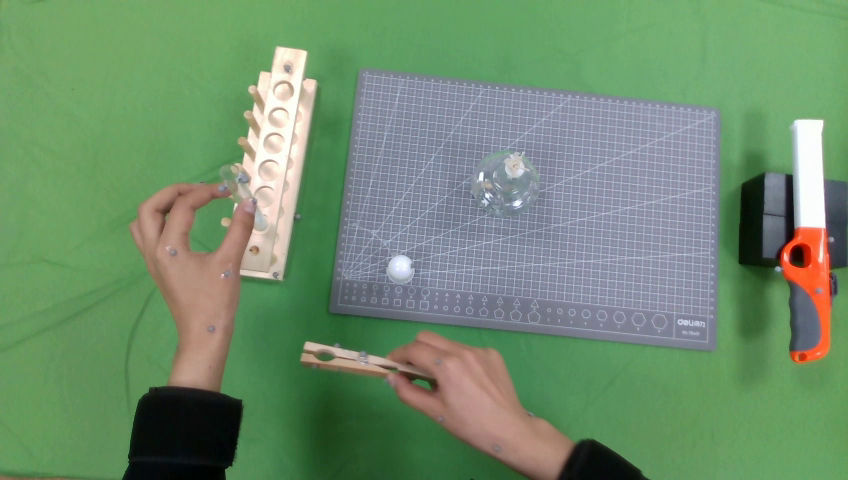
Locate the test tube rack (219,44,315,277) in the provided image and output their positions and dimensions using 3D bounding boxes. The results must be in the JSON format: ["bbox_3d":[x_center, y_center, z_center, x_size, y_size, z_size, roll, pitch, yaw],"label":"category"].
[{"bbox_3d":[-0.179,-0.086,0.671,0.067,0.085,0.241,8,81,-2],"label":"test tube rack"}]

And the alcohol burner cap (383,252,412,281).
[{"bbox_3d":[-0.030,0.028,0.680,0.034,0.048,0.033,1,81,-3],"label":"alcohol burner cap"}]

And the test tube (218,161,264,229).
[{"bbox_3d":[-0.164,-0.037,0.551,0.017,0.150,0.017,2,75,-6],"label":"test tube"}]

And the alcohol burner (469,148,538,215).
[{"bbox_3d":[0.090,-0.069,0.667,0.078,0.119,0.077,0,82,-2],"label":"alcohol burner"}]

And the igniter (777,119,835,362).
[{"bbox_3d":[0.424,-0.003,0.675,0.057,0.025,0.275,4,80,9],"label":"igniter"}]

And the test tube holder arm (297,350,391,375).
[{"bbox_3d":[-0.074,0.115,0.565,0.088,0.015,0.010,7,63,0],"label":"test tube holder arm"}]

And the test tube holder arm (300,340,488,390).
[{"bbox_3d":[-0.028,0.117,0.567,0.178,0.015,0.013,10,64,2],"label":"test tube holder arm"}]
